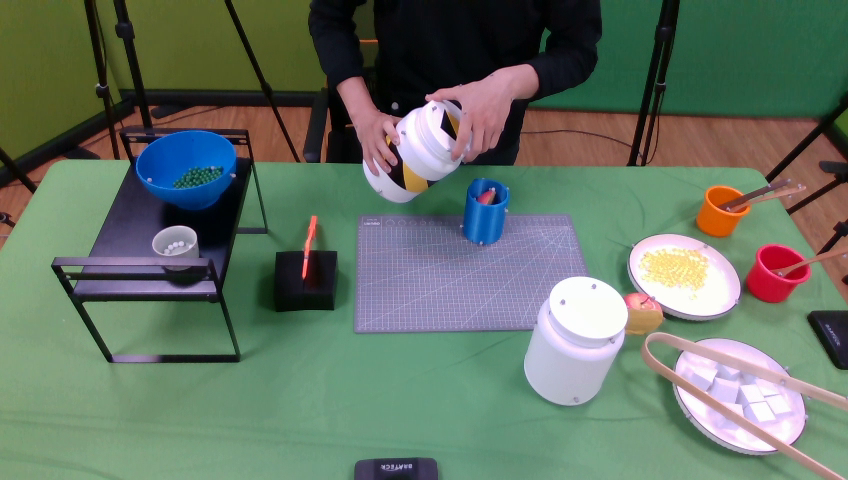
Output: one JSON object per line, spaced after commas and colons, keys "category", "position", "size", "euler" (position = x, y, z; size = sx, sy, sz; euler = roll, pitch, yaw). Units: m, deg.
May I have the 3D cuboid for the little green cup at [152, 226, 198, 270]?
{"category": "little green cup", "position": [-0.364, 0.013, 0.894], "size": [0.061, 0.039, 0.061], "euler": [3, 46, -3]}

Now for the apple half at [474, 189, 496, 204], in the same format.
{"category": "apple half", "position": [0.110, -0.067, 1.200], "size": [0.032, 0.081, 0.081], "euler": [28, 50, 12]}

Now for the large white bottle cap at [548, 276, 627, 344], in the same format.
{"category": "large white bottle cap", "position": [0.240, 0.100, 0.890], "size": [0.115, 0.018, 0.114], "euler": [3, 47, -3]}

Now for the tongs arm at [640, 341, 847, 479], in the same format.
{"category": "tongs arm", "position": [0.500, 0.278, 0.919], "size": [0.386, 0.028, 0.028], "euler": [34, 59, 22]}

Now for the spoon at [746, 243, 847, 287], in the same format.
{"category": "spoon", "position": [0.702, 0.043, 1.126], "size": [0.194, 0.022, 0.041], "euler": [-29, 38, 30]}

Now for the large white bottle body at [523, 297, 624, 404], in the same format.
{"category": "large white bottle body", "position": [0.235, 0.159, 0.952], "size": [0.131, 0.185, 0.130], "euler": [2, 47, -2]}

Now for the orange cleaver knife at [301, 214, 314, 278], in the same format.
{"category": "orange cleaver knife", "position": [-0.218, 0.008, 1.131], "size": [0.012, 0.077, 0.210], "euler": [7, 19, -9]}

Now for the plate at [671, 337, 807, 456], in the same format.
{"category": "plate", "position": [0.504, 0.254, 0.984], "size": [0.208, 0.039, 0.206], "euler": [2, 46, -2]}

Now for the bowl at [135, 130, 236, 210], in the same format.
{"category": "bowl", "position": [-0.375, -0.102, 0.978], "size": [0.151, 0.077, 0.150], "euler": [2, 46, -2]}

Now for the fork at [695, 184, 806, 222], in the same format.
{"category": "fork", "position": [0.658, -0.074, 1.230], "size": [0.207, 0.019, 0.028], "euler": [-24, 34, 36]}

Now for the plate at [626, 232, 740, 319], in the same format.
{"category": "plate", "position": [0.488, 0.071, 1.157], "size": [0.209, 0.038, 0.208], "euler": [3, 46, -3]}

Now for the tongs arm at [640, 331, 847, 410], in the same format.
{"category": "tongs arm", "position": [0.543, 0.226, 0.969], "size": [0.384, 0.026, 0.050], "euler": [22, 52, 13]}

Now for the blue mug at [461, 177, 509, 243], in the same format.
{"category": "blue mug", "position": [0.114, -0.070, 1.210], "size": [0.082, 0.106, 0.115], "euler": [-12, 48, -15]}

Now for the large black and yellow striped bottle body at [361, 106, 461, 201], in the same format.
{"category": "large black and yellow striped bottle body", "position": [-0.014, -0.165, 1.118], "size": [0.131, 0.184, 0.130], "euler": [22, 54, -34]}

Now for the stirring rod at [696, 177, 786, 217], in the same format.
{"category": "stirring rod", "position": [0.648, -0.087, 1.244], "size": [0.176, 0.006, 0.014], "euler": [-25, 50, 29]}

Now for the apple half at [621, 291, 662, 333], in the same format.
{"category": "apple half", "position": [0.372, 0.124, 1.073], "size": [0.081, 0.075, 0.053], "euler": [0, 42, 1]}

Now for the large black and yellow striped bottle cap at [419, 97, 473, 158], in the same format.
{"category": "large black and yellow striped bottle cap", "position": [0.039, -0.197, 1.059], "size": [0.115, 0.019, 0.114], "euler": [23, 54, -35]}
